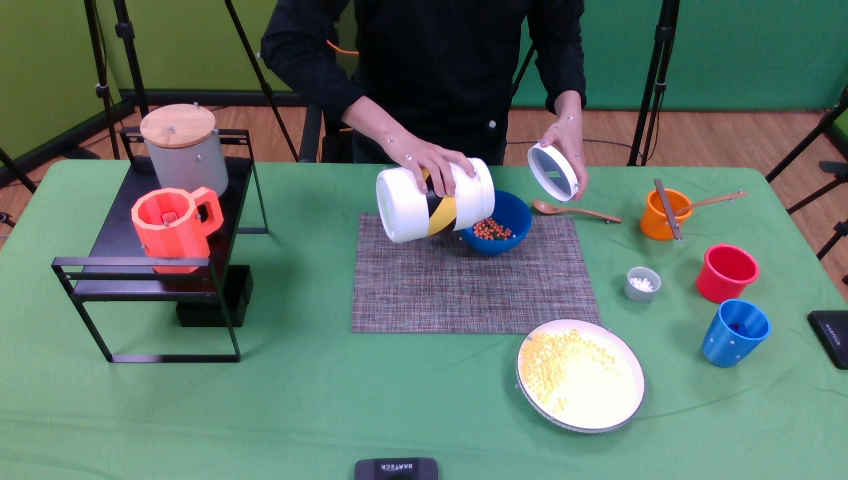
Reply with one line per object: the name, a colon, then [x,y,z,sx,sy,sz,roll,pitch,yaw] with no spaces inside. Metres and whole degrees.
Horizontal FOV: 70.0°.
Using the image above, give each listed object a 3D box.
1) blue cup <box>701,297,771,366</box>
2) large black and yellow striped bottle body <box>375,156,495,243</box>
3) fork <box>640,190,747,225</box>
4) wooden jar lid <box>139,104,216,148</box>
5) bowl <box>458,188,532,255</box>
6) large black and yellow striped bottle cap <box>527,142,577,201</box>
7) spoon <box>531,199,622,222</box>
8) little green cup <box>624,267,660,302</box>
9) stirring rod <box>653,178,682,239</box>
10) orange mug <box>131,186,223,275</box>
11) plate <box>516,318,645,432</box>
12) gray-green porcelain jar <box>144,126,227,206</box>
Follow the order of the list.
blue cup: [0.519,0.162,1.025,0.093,0.101,0.092,3,45,-3]
large black and yellow striped bottle body: [0.018,-0.075,1.057,0.184,0.131,0.130,-13,48,-16]
fork: [0.533,-0.064,1.211,0.207,0.019,0.028,-22,28,38]
wooden jar lid: [-0.372,-0.169,0.920,0.108,0.021,0.107,4,44,-4]
bowl: [0.130,-0.025,1.186,0.151,0.077,0.150,2,46,-2]
large black and yellow striped bottle cap: [0.226,-0.121,1.071,0.019,0.115,0.114,-36,56,-9]
spoon: [0.321,-0.060,1.279,0.194,0.022,0.041,8,32,4]
little green cup: [0.406,0.084,1.135,0.061,0.039,0.061,3,45,-3]
stirring rod: [0.481,-0.065,1.204,0.014,0.006,0.175,2,46,-1]
orange mug: [-0.354,-0.023,0.887,0.083,0.101,0.126,31,56,24]
plate: [0.253,0.221,0.993,0.209,0.038,0.208,2,46,-2]
gray-green porcelain jar: [-0.375,-0.125,0.967,0.106,0.127,0.105,2,46,-2]
